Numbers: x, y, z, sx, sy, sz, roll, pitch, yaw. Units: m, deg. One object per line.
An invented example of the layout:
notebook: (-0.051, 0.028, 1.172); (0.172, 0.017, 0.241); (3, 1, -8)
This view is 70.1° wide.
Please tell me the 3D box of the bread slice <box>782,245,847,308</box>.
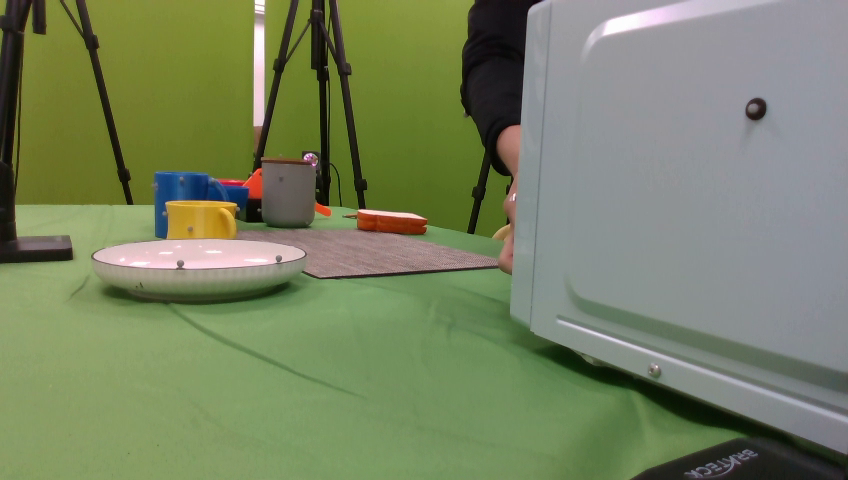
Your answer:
bread slice: (0.370, 0.020, 0.473); (0.132, 0.019, 0.104); (-22, 10, -12)

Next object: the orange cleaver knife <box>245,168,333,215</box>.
orange cleaver knife: (-0.300, -0.089, 1.351); (0.212, 0.077, 0.012); (28, -9, -34)

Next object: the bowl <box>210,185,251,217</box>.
bowl: (-0.408, -0.064, 1.154); (0.151, 0.077, 0.151); (2, 8, 0)

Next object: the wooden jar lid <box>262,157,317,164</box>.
wooden jar lid: (-0.269, -0.154, 1.208); (0.108, 0.020, 0.108); (3, 4, 0)

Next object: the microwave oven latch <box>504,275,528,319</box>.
microwave oven latch: (0.100, 0.042, 0.468); (0.079, 0.029, 0.030); (-1, 7, -23)

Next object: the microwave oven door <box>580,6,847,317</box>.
microwave oven door: (0.295, -0.067, 0.569); (0.358, 0.243, 0.039); (-3, 9, -31)

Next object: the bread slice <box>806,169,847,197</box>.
bread slice: (0.365, -0.051, 0.453); (0.135, 0.018, 0.106); (-10, 1, -22)

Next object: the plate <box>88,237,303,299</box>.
plate: (-0.233, 0.029, 0.636); (0.208, 0.039, 0.207); (2, 7, 0)

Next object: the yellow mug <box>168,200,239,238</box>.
yellow mug: (-0.319, -0.023, 0.903); (0.130, 0.064, 0.100); (8, 10, 36)

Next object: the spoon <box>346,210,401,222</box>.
spoon: (-0.120, -0.059, 1.400); (0.042, 0.021, 0.192); (-27, 24, -38)

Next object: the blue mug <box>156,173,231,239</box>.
blue mug: (-0.380, -0.057, 1.004); (0.117, 0.106, 0.082); (1, 8, -12)

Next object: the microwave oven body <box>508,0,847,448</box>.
microwave oven body: (0.331, -0.042, 0.425); (0.444, 0.260, 0.324); (-2, 8, -31)

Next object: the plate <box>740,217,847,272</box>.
plate: (0.359, 0.002, 0.465); (0.209, 0.038, 0.209); (0, 4, 0)

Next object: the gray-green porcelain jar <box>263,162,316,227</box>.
gray-green porcelain jar: (-0.270, -0.092, 1.217); (0.106, 0.126, 0.106); (2, 7, 0)

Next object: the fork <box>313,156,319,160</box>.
fork: (-0.330, -0.143, 1.505); (0.207, 0.018, 0.028); (-42, -19, 22)

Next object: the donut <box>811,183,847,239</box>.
donut: (0.353, -0.026, 0.463); (0.099, 0.048, 0.099); (-10, 3, 1)
